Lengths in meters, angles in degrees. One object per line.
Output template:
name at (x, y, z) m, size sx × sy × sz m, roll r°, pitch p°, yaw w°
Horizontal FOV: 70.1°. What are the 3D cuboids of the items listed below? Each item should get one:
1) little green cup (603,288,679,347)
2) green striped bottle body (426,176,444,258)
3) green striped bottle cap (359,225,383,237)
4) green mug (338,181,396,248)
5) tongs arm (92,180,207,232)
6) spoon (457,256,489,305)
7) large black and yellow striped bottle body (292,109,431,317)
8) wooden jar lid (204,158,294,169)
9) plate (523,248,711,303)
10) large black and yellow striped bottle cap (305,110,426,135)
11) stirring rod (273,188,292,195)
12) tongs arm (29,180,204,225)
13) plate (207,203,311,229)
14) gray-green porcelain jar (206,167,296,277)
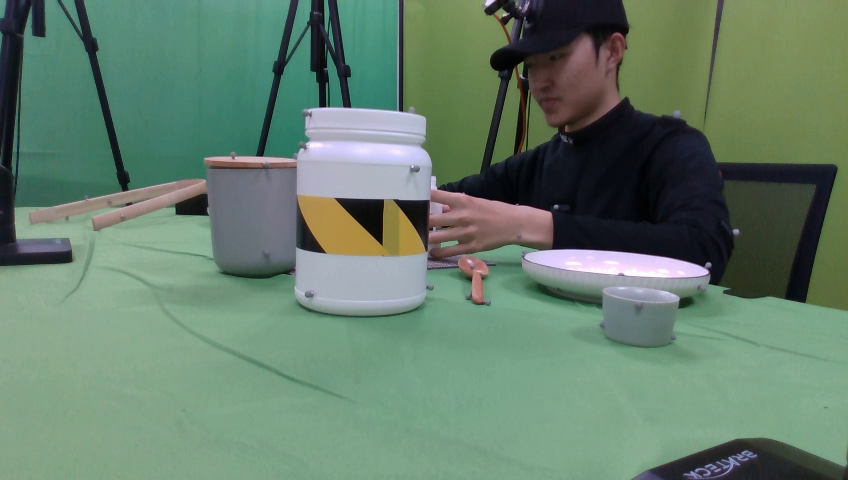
little green cup at (0.180, 0.064, 0.505) m, size 0.061 × 0.038 × 0.061 m, roll 2°, pitch 7°, yaw 0°
green striped bottle body at (-0.003, -0.036, 0.896) m, size 0.063 × 0.119 × 0.063 m, roll 3°, pitch 8°, yaw 0°
green striped bottle cap at (-0.100, -0.017, 1.138) m, size 0.044 × 0.020 × 0.044 m, roll -2°, pitch 10°, yaw 1°
green mug at (-0.098, -0.044, 0.995) m, size 0.093 × 0.105 × 0.125 m, roll -1°, pitch 7°, yaw -21°
tongs arm at (-0.534, -0.076, 1.221) m, size 0.028 × 0.028 × 0.388 m, roll -2°, pitch 15°, yaw 12°
spoon at (0.059, 0.044, 0.696) m, size 0.041 × 0.021 × 0.194 m, roll 21°, pitch 7°, yaw 0°
large black and yellow striped bottle body at (-0.060, -0.028, 0.585) m, size 0.131 × 0.184 × 0.130 m, roll 3°, pitch 7°, yaw 0°
wooden jar lid at (-0.202, -0.086, 0.714) m, size 0.108 × 0.020 × 0.108 m, roll 3°, pitch 11°, yaw 0°
plate at (0.219, 0.041, 0.706) m, size 0.209 × 0.038 × 0.209 m, roll 2°, pitch 7°, yaw 0°
large black and yellow striped bottle cap at (-0.055, -0.110, 0.574) m, size 0.115 × 0.019 × 0.115 m, roll 1°, pitch 7°, yaw 0°
stirring rod at (-0.354, -0.122, 1.519) m, size 0.006 × 0.014 × 0.176 m, roll 2°, pitch 7°, yaw 1°
tongs arm at (-0.609, -0.083, 1.245) m, size 0.050 × 0.026 × 0.386 m, roll 5°, pitch 16°, yaw 23°
plate at (-0.342, -0.050, 1.259) m, size 0.208 × 0.039 × 0.207 m, roll 2°, pitch 7°, yaw 0°
gray-green porcelain jar at (-0.201, -0.024, 0.724) m, size 0.106 × 0.126 × 0.106 m, roll -1°, pitch 9°, yaw 1°
